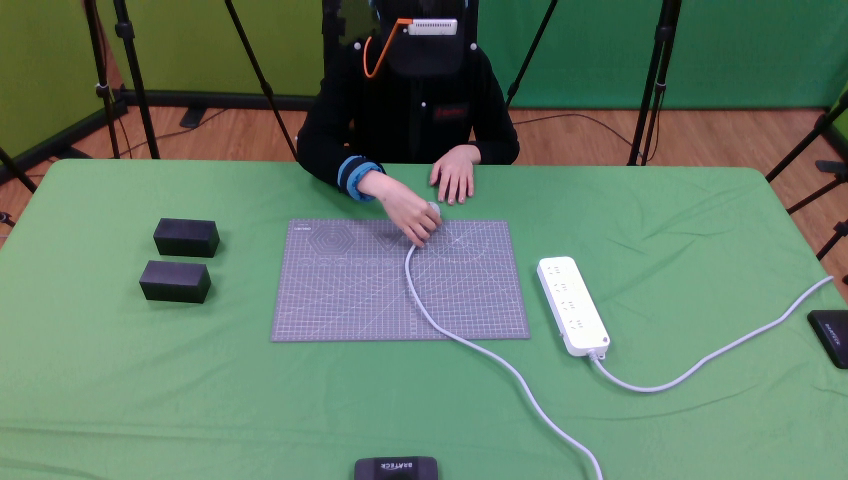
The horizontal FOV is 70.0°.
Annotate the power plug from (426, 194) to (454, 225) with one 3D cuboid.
[{"bbox_3d":[0.033,-0.060,1.231,0.035,0.072,0.052,-21,94,-39],"label":"power plug"}]

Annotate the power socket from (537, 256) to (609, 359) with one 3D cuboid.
[{"bbox_3d":[0.266,0.115,1.097,0.072,0.033,0.225,-5,47,-8],"label":"power socket"}]
